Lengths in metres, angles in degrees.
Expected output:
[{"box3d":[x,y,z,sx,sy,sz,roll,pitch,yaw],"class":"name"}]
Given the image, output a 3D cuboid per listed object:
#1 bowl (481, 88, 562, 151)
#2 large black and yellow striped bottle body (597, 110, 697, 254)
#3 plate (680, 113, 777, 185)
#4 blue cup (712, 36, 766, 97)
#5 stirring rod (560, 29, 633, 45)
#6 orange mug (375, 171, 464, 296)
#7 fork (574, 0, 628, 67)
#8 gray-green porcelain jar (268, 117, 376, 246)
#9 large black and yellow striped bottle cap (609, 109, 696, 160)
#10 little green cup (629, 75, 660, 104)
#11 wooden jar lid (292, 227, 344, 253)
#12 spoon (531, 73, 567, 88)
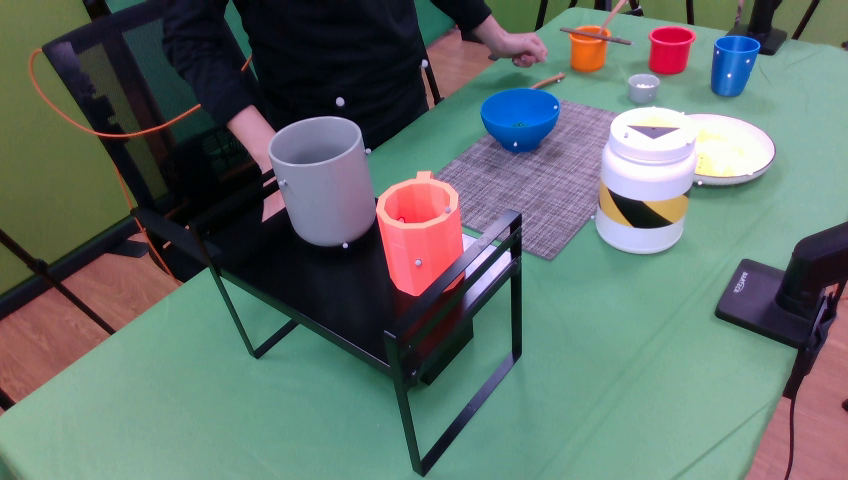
[{"box3d":[0.187,-0.223,1.161,0.151,0.077,0.150,-4,40,4],"class":"bowl"},{"box3d":[0.331,-0.086,0.904,0.131,0.185,0.130,-5,41,4],"class":"large black and yellow striped bottle body"},{"box3d":[0.506,-0.158,1.073,0.209,0.038,0.208,-4,40,4],"class":"plate"},{"box3d":[0.627,-0.350,1.227,0.092,0.100,0.092,-4,39,4],"class":"blue cup"},{"box3d":[0.381,-0.452,1.345,0.174,0.006,0.014,26,49,33],"class":"stirring rod"},{"box3d":[-0.001,-0.016,0.662,0.083,0.101,0.125,-2,45,8],"class":"orange mug"},{"box3d":[0.413,-0.481,1.377,0.207,0.019,0.028,-56,43,12],"class":"fork"},{"box3d":[-0.115,-0.064,0.715,0.106,0.127,0.105,-4,40,4],"class":"gray-green porcelain jar"},{"box3d":[0.319,-0.150,0.849,0.115,0.019,0.114,-4,39,3],"class":"large black and yellow striped bottle cap"},{"box3d":[0.457,-0.314,1.260,0.061,0.039,0.061,-4,40,4],"class":"little green cup"},{"box3d":[-0.169,-0.016,1.026,0.108,0.021,0.108,-4,40,4],"class":"wooden jar lid"},{"box3d":[0.249,-0.336,1.332,0.194,0.022,0.041,-32,32,-25],"class":"spoon"}]
